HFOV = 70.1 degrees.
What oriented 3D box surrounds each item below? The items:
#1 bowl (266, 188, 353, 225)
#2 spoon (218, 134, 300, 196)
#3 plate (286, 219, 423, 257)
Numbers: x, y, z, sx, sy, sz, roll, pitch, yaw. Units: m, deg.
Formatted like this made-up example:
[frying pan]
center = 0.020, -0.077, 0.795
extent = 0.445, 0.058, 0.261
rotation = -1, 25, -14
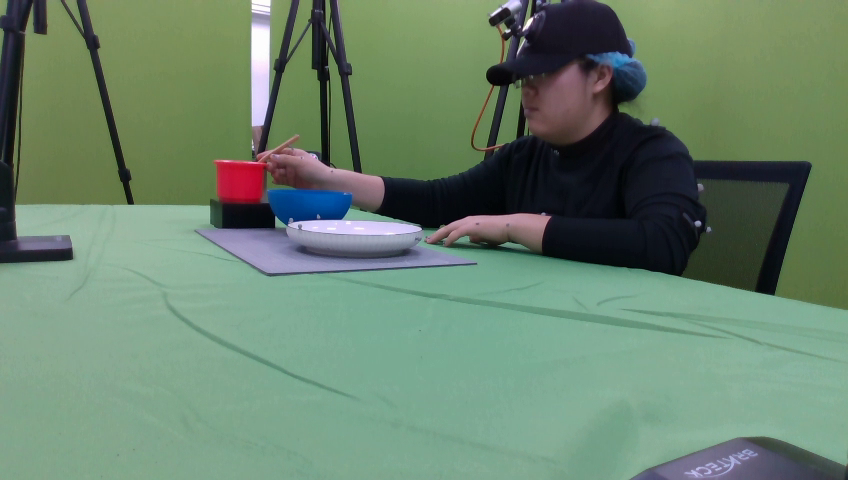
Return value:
[bowl]
center = -0.204, -0.049, 1.079
extent = 0.151, 0.077, 0.151
rotation = 3, 7, 0
[spoon]
center = -0.317, -0.146, 1.171
extent = 0.194, 0.022, 0.041
rotation = -45, 23, -14
[plate]
center = -0.106, -0.004, 0.922
extent = 0.208, 0.039, 0.207
rotation = 3, 8, 0
